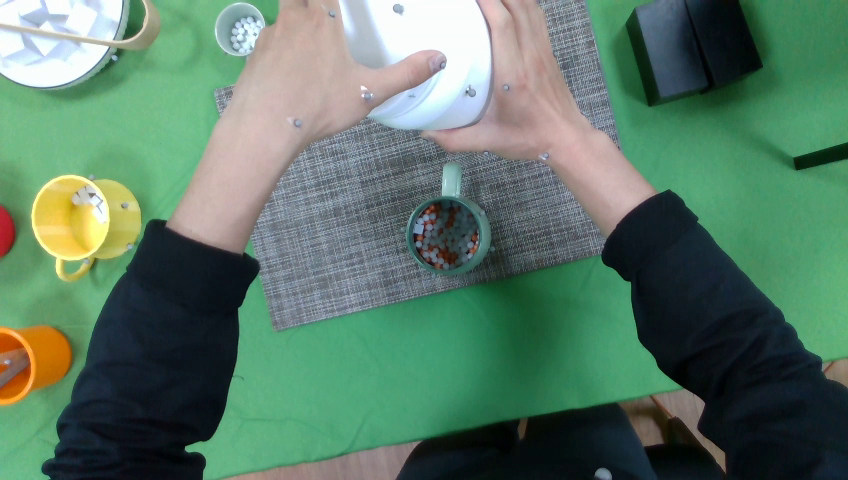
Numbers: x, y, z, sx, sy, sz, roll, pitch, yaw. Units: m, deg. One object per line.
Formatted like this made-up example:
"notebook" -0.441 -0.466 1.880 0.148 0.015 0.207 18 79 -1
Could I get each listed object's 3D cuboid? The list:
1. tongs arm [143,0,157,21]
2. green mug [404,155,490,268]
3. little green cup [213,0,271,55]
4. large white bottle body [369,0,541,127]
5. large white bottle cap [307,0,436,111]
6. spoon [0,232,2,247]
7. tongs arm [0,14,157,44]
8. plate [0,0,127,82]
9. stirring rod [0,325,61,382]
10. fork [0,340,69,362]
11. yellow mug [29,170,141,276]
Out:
"tongs arm" -0.472 -0.358 0.710 0.387 0.028 0.028 29 89 7
"green mug" 0.026 -0.030 0.660 0.092 0.105 0.125 3 92 7
"little green cup" -0.212 -0.249 0.715 0.061 0.038 0.061 0 93 7
"large white bottle body" 0.008 -0.167 0.526 0.130 0.185 0.131 6 101 34
"large white bottle cap" -0.042 -0.156 0.455 0.114 0.018 0.115 6 101 33
"spoon" -0.575 -0.057 0.709 0.041 0.021 0.196 -18 135 6
"tongs arm" -0.500 -0.280 0.714 0.384 0.026 0.051 15 90 8
"plate" -0.458 -0.296 0.741 0.207 0.039 0.207 0 93 6
"stirring rod" -0.507 0.165 0.714 0.014 0.006 0.175 37 53 4
"fork" -0.537 0.135 0.710 0.209 0.018 0.028 3 90 -37
"yellow mug" -0.412 -0.018 0.733 0.100 0.064 0.131 19 95 5
